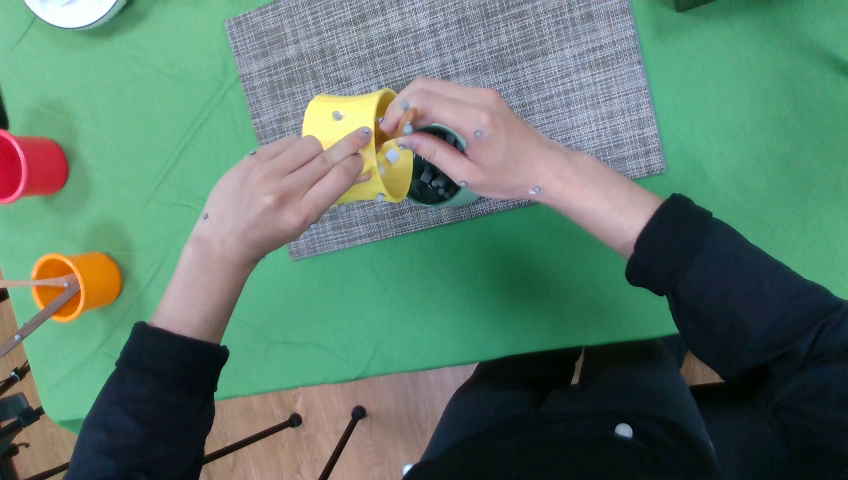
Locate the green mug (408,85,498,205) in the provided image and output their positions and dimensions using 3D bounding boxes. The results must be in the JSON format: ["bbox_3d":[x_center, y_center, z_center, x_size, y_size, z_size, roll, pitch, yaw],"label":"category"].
[{"bbox_3d":[0.024,-0.096,0.628,0.092,0.105,0.125,5,100,18],"label":"green mug"}]

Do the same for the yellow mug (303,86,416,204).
[{"bbox_3d":[-0.058,-0.076,0.527,0.064,0.130,0.100,-1,117,19],"label":"yellow mug"}]

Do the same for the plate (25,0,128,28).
[{"bbox_3d":[-0.437,-0.375,0.768,0.207,0.039,0.208,3,100,17],"label":"plate"}]

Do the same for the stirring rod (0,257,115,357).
[{"bbox_3d":[-0.485,0.087,0.805,0.014,0.006,0.175,38,65,7],"label":"stirring rod"}]

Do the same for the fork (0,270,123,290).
[{"bbox_3d":[-0.516,0.056,0.803,0.208,0.018,0.028,-1,98,-26],"label":"fork"}]

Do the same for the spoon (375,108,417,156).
[{"bbox_3d":[-0.024,-0.086,0.478,0.022,0.193,0.041,26,88,-14],"label":"spoon"}]
